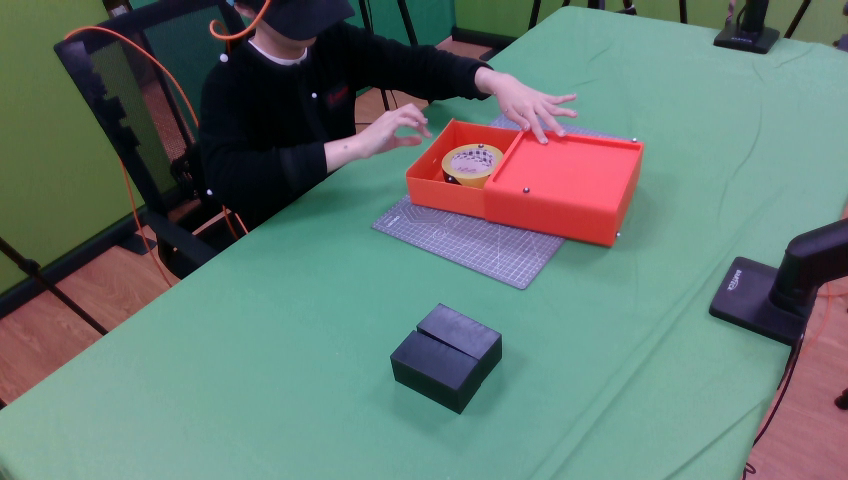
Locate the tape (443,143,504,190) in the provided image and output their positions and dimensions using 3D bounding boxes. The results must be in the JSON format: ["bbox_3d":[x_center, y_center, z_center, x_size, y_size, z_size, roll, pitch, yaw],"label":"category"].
[{"bbox_3d":[0.092,-0.119,1.067,0.117,0.053,0.116,-6,40,6],"label":"tape"}]

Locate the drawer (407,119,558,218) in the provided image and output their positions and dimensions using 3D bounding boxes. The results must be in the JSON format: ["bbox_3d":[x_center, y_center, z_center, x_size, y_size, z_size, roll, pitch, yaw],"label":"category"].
[{"bbox_3d":[0.107,-0.125,1.060,0.210,0.073,0.194,14,44,25],"label":"drawer"}]

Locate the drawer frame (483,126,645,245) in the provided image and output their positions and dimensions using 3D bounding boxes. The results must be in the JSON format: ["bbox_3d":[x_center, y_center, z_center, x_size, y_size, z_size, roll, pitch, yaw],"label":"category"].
[{"bbox_3d":[0.234,-0.097,1.003,0.212,0.083,0.202,13,44,22],"label":"drawer frame"}]
